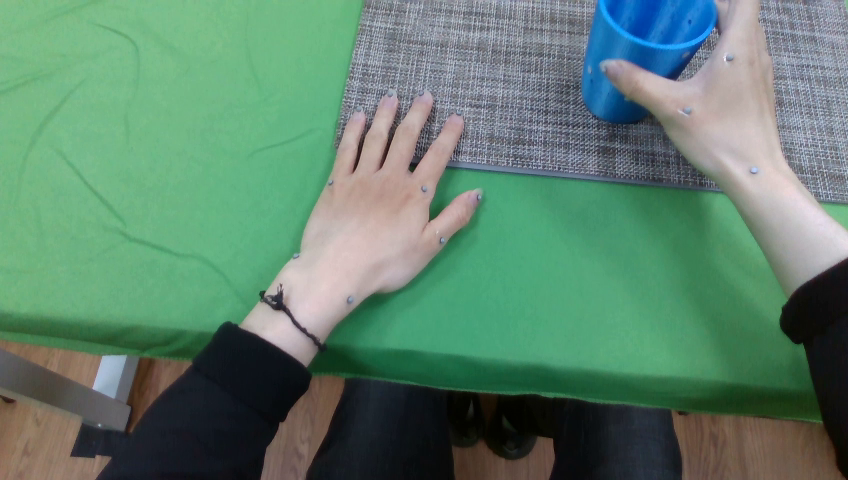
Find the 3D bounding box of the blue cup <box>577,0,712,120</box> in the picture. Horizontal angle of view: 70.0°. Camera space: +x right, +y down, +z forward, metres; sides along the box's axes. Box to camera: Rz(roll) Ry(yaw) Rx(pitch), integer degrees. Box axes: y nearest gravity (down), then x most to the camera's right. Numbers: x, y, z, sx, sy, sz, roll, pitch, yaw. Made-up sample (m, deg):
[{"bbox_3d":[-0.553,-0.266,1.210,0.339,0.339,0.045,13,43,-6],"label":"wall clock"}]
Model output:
[{"bbox_3d":[0.161,-0.148,0.473,0.092,0.101,0.092,0,64,0],"label":"blue cup"}]
